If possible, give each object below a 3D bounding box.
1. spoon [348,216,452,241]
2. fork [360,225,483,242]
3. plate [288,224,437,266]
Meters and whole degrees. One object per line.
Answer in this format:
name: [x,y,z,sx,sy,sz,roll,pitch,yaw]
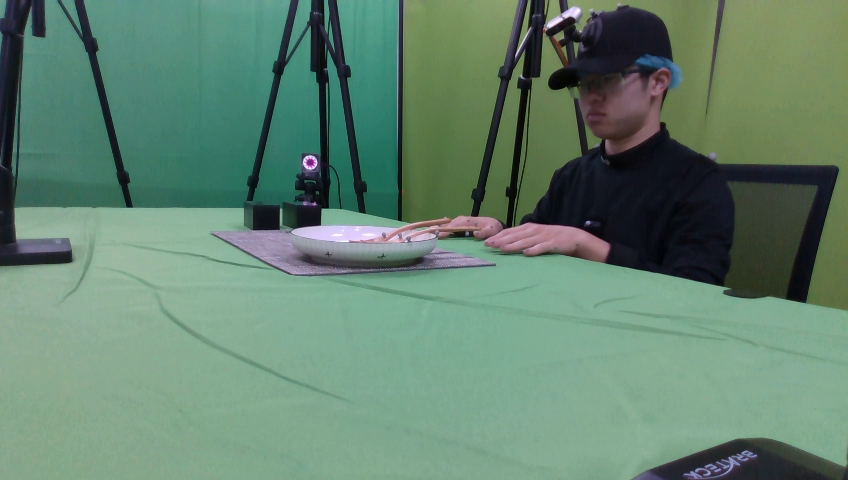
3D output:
spoon: [-0.030,-0.015,0.924,0.195,0.021,0.041,-19,15,-36]
fork: [0.002,-0.009,0.893,0.208,0.018,0.028,-11,9,-30]
plate: [-0.086,0.007,0.852,0.208,0.039,0.207,2,7,0]
